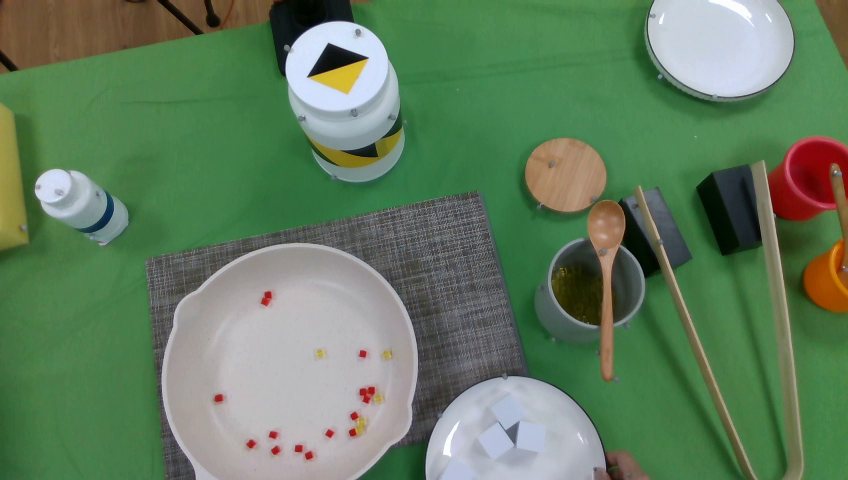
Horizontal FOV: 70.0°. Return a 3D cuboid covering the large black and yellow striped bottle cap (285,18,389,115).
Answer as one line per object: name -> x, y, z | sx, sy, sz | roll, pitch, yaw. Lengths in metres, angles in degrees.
large black and yellow striped bottle cap -> -0.097, -0.195, 0.678 | 0.115, 0.019, 0.114 | 0, 75, 1

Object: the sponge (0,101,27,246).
sponge -> -0.615, -0.088, 0.804 | 0.118, 0.061, 0.205 | -17, 75, -5

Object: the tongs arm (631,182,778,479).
tongs arm -> 0.333, 0.107, 0.719 | 0.051, 0.026, 0.383 | -17, 84, -6

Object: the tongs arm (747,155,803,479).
tongs arm -> 0.415, 0.089, 0.724 | 0.028, 0.028, 0.386 | -3, 84, -7

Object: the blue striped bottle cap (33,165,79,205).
blue striped bottle cap -> -0.432, -0.066, 0.711 | 0.044, 0.021, 0.044 | 0, 75, 0

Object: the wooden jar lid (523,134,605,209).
wooden jar lid -> 0.187, -0.091, 0.817 | 0.108, 0.021, 0.108 | 0, 75, 1

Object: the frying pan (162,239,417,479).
frying pan -> -0.203, 0.229, 0.681 | 0.306, 0.103, 0.486 | 28, 68, 9

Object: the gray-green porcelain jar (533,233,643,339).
gray-green porcelain jar -> 0.187, 0.060, 0.718 | 0.106, 0.127, 0.105 | 0, 73, 1

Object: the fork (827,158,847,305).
fork -> 0.495, -0.006, 0.720 | 0.028, 0.018, 0.209 | -25, 119, 2

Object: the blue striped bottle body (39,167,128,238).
blue striped bottle body -> -0.430, -0.050, 0.759 | 0.063, 0.121, 0.062 | 0, 73, 1

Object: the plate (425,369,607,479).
plate -> 0.105, 0.257, 0.706 | 0.208, 0.039, 0.206 | 0, 76, 1

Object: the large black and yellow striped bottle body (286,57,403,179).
large black and yellow striped bottle body -> -0.096, -0.169, 0.758 | 0.131, 0.185, 0.130 | 0, 73, 1

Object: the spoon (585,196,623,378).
spoon -> 0.193, 0.049, 0.648 | 0.041, 0.022, 0.193 | 4, 78, 0

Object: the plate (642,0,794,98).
plate -> 0.413, -0.291, 0.862 | 0.209, 0.038, 0.208 | 0, 74, 1
